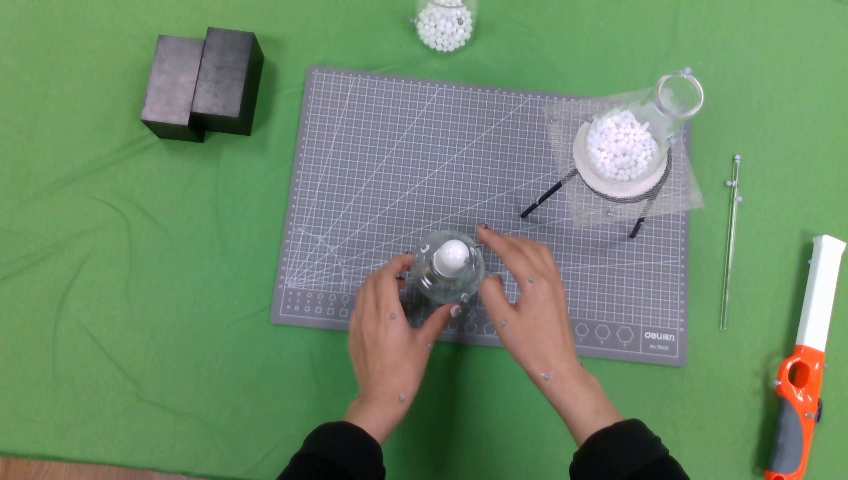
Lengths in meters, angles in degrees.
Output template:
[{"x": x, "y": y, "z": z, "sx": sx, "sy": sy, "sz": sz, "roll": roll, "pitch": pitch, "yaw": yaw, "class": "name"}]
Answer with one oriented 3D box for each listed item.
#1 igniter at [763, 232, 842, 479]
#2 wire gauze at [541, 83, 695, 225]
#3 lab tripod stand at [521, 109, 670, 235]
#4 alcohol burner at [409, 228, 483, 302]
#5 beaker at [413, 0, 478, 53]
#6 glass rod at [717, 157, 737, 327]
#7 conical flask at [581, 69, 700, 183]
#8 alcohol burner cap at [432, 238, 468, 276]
[{"x": 0.410, "y": 0.124, "z": 0.654, "sx": 0.057, "sy": 0.025, "sz": 0.275, "roll": 20, "pitch": 78, "yaw": -9, "class": "igniter"}, {"x": 0.180, "y": -0.079, "z": 0.560, "sx": 0.125, "sy": 0.011, "sz": 0.121, "roll": -10, "pitch": 82, "yaw": -6, "class": "wire gauze"}, {"x": 0.179, "y": -0.064, "z": 0.624, "sx": 0.148, "sy": 0.132, "sz": 0.148, "roll": 0, "pitch": 80, "yaw": -1, "class": "lab tripod stand"}, {"x": 0.024, "y": 0.022, "z": 0.610, "sx": 0.078, "sy": 0.119, "sz": 0.077, "roll": 1, "pitch": 79, "yaw": -3, "class": "alcohol burner"}, {"x": 0.025, "y": -0.265, "z": 0.677, "sx": 0.084, "sy": 0.100, "sz": 0.074, "roll": -34, "pitch": 82, "yaw": -9, "class": "beaker"}, {"x": 0.343, "y": -0.001, "z": 0.685, "sx": 0.008, "sy": 0.008, "sz": 0.199, "roll": 11, "pitch": 78, "yaw": 0, "class": "glass rod"}, {"x": 0.183, "y": -0.097, "z": 0.503, "sx": 0.075, "sy": 0.122, "sz": 0.075, "roll": 0, "pitch": 80, "yaw": -2, "class": "conical flask"}, {"x": 0.026, "y": 0.014, "z": 0.575, "sx": 0.034, "sy": 0.048, "sz": 0.033, "roll": 2, "pitch": 76, "yaw": -6, "class": "alcohol burner cap"}]
